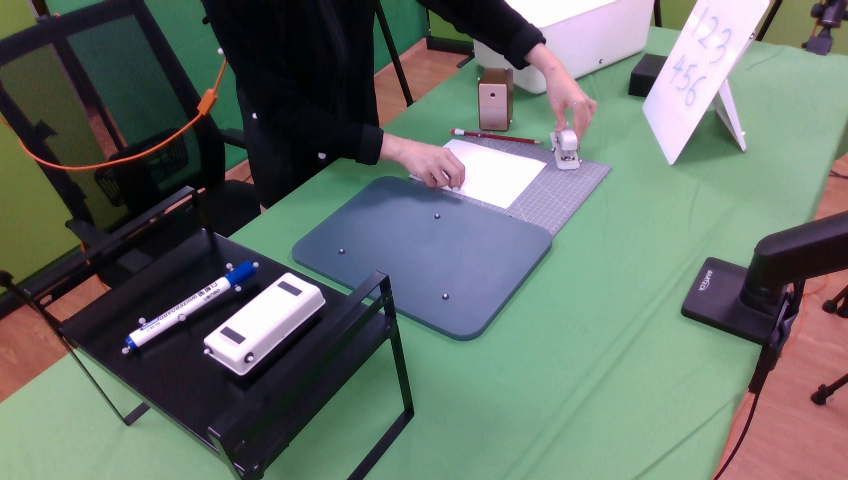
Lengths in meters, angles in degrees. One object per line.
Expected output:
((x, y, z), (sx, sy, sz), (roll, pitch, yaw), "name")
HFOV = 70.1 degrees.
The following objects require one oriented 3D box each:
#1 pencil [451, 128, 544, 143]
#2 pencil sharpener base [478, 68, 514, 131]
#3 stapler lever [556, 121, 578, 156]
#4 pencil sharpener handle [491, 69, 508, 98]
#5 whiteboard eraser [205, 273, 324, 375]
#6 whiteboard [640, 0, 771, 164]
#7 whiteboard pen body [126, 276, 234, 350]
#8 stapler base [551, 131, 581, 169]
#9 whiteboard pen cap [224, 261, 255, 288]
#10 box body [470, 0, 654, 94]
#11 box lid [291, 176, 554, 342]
((0.145, -0.207, 1.205), (0.193, 0.012, 0.012), (11, 43, 20), "pencil")
((0.148, -0.286, 1.225), (0.061, 0.107, 0.076), (5, 41, 15), "pencil sharpener base")
((0.266, -0.198, 1.128), (0.027, 0.040, 0.117), (0, 38, 3), "stapler lever")
((0.155, -0.329, 1.254), (0.036, 0.068, 0.030), (17, 43, 4), "pencil sharpener handle")
((-0.157, 0.084, 0.605), (0.055, 0.042, 0.113), (24, 49, 30), "whiteboard eraser")
((0.543, -0.299, 1.076), (0.144, 0.305, 0.216), (12, 40, -7), "whiteboard")
((-0.251, 0.070, 0.649), (0.141, 0.017, 0.017), (-36, 48, -26), "whiteboard pen body")
((0.268, -0.178, 1.142), (0.041, 0.024, 0.130), (0, 37, 3), "stapler base")
((-0.207, 0.039, 0.677), (0.033, 0.018, 0.018), (-36, 47, -18), "whiteboard pen cap")
((0.319, -0.498, 1.405), (0.365, 0.161, 0.252), (-26, 43, -21), "box body")
((-0.005, 0.011, 0.972), (0.368, 0.015, 0.264), (21, 49, 30), "box lid")
